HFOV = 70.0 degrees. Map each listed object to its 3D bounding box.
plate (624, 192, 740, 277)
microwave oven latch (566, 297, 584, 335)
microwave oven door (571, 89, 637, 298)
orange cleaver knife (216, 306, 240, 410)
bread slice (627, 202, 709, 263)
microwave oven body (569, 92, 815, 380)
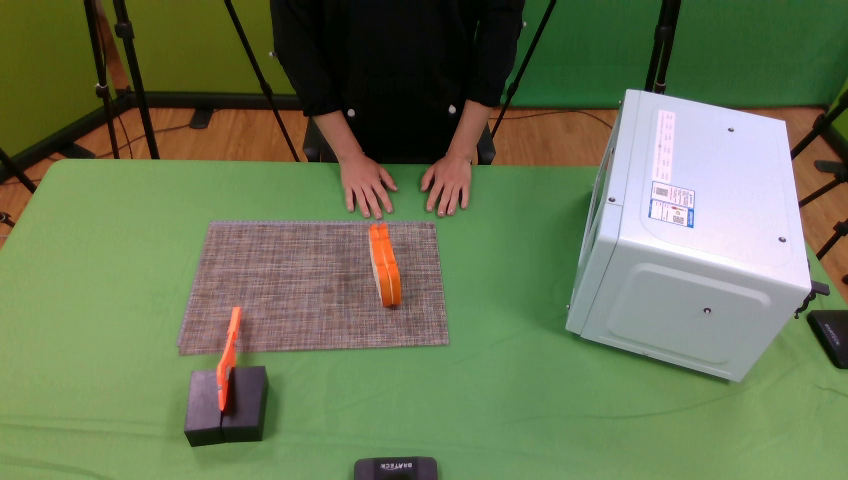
[{"bbox_3d":[0.481,-0.007,1.144,0.208,0.039,0.206,0,48,0],"label":"plate"},{"bbox_3d":[0.268,0.126,1.059,0.030,0.029,0.079,16,46,12],"label":"microwave oven latch"},{"bbox_3d":[0.343,-0.091,1.133,0.039,0.245,0.354,15,47,10],"label":"microwave oven door"},{"bbox_3d":[-0.307,0.180,0.957,0.012,0.077,0.210,-2,25,-8],"label":"orange cleaver knife"},{"bbox_3d":[0.474,-0.022,1.167,0.134,0.018,0.106,-29,54,-15],"label":"bread slice"},{"bbox_3d":[0.468,-0.022,1.082,0.325,0.261,0.440,15,46,11],"label":"microwave oven body"}]
